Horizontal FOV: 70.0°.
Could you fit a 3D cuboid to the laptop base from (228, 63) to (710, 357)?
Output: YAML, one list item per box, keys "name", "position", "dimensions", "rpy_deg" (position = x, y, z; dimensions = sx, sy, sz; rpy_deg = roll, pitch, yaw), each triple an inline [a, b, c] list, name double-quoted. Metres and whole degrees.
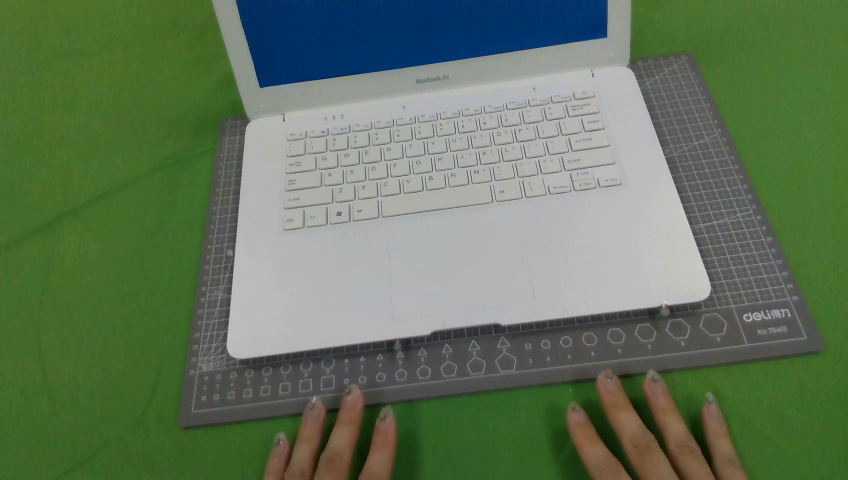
- name: "laptop base"
  position: [0.021, -0.033, 0.497]
  dimensions: [0.354, 0.023, 0.233]
  rpy_deg: [-8, 62, 3]

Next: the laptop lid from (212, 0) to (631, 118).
- name: "laptop lid"
  position: [-0.005, -0.231, 0.498]
  dimensions: [0.356, 0.244, 0.013]
  rpy_deg: [-9, 31, 3]
